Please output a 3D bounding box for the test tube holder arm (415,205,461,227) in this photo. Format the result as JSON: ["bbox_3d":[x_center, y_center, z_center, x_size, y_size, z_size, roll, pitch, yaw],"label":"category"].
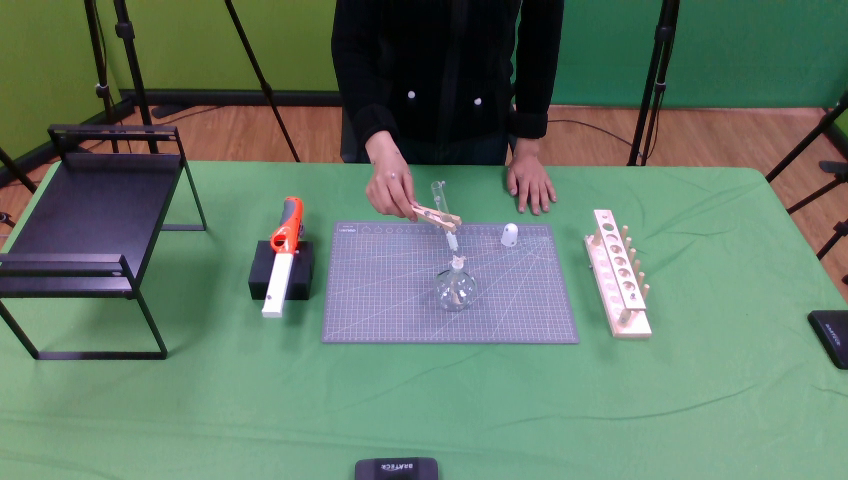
[{"bbox_3d":[0.020,-0.039,0.965,0.087,0.015,0.010,17,52,32],"label":"test tube holder arm"}]

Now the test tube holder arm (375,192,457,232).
[{"bbox_3d":[-0.018,-0.048,0.988,0.177,0.015,0.013,23,55,36],"label":"test tube holder arm"}]

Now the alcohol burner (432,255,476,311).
[{"bbox_3d":[0.055,0.070,1.068,0.078,0.119,0.077,3,45,-3],"label":"alcohol burner"}]

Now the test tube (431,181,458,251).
[{"bbox_3d":[0.034,-0.034,0.946,0.017,0.151,0.017,-8,47,9],"label":"test tube"}]

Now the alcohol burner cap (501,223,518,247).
[{"bbox_3d":[0.172,-0.013,1.207,0.034,0.048,0.033,1,45,-1],"label":"alcohol burner cap"}]

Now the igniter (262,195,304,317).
[{"bbox_3d":[-0.252,0.020,1.090,0.057,0.025,0.275,0,49,-1],"label":"igniter"}]

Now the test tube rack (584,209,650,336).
[{"bbox_3d":[0.365,0.056,1.129,0.067,0.085,0.240,1,46,-4],"label":"test tube rack"}]
